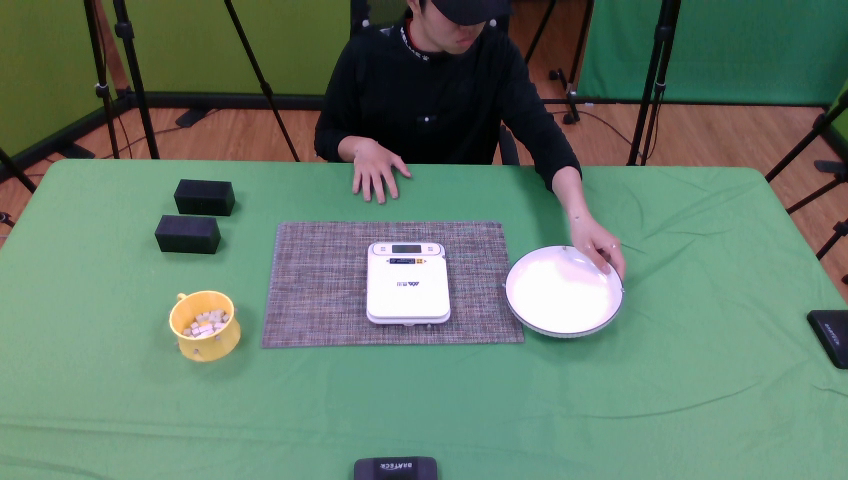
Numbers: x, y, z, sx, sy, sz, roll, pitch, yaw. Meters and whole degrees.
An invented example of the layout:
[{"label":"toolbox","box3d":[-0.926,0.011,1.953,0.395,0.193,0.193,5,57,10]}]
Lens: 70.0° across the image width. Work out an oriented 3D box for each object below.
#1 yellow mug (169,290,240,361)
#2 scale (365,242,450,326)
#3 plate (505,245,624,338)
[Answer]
[{"label":"yellow mug","box3d":[-0.373,0.132,1.009,0.130,0.064,0.100,35,53,27]},{"label":"scale","box3d":[-0.032,0.071,1.113,0.149,0.032,0.199,0,46,-4]},{"label":"plate","box3d":[0.252,0.095,1.094,0.209,0.038,0.208,-5,45,5]}]
